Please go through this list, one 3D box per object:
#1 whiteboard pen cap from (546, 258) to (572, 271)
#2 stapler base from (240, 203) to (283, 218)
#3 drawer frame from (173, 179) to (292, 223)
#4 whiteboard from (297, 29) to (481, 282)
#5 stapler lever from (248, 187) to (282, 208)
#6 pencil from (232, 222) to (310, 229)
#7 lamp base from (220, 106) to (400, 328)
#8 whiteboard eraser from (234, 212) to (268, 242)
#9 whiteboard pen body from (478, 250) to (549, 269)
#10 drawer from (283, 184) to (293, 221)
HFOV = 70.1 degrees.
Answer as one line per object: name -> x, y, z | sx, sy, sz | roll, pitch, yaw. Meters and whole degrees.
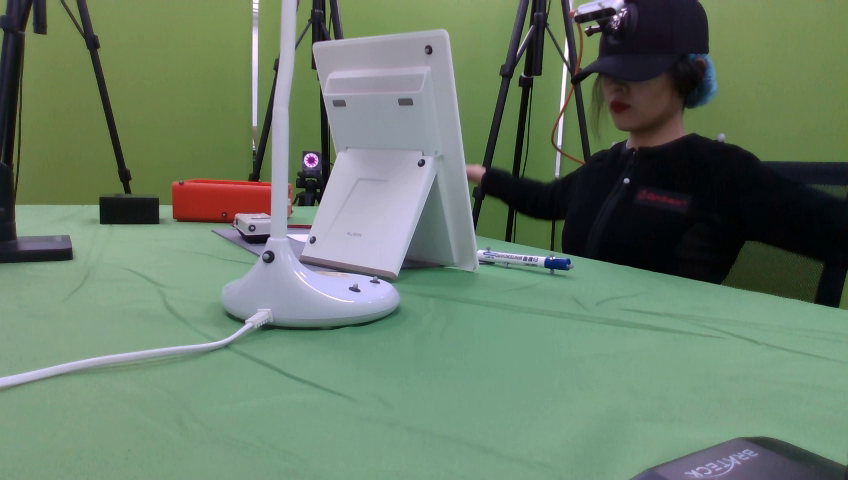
whiteboard pen cap -> 0.176, 0.032, 0.790 | 0.033, 0.018, 0.018 | 3, 6, 38
stapler base -> -0.349, -0.065, 1.309 | 0.041, 0.024, 0.131 | 19, 8, 12
drawer frame -> -0.400, -0.086, 1.300 | 0.214, 0.082, 0.201 | 1, 8, -8
whiteboard -> -0.076, -0.082, 0.742 | 0.216, 0.305, 0.144 | 9, 29, 37
stapler lever -> -0.341, -0.092, 1.308 | 0.027, 0.040, 0.118 | 19, 5, 12
pencil -> -0.261, -0.025, 1.140 | 0.195, 0.012, 0.012 | 2, 7, -26
lamp base -> -0.101, -0.023, 0.531 | 0.160, 0.180, 0.179 | 4, 10, 10
whiteboard eraser -> -0.270, -0.021, 0.975 | 0.056, 0.042, 0.112 | 0, 8, -27
whiteboard pen body -> 0.130, 0.028, 0.827 | 0.140, 0.017, 0.017 | 7, 8, 38
drawer -> -0.396, -0.084, 1.301 | 0.212, 0.073, 0.194 | 1, 8, -7
